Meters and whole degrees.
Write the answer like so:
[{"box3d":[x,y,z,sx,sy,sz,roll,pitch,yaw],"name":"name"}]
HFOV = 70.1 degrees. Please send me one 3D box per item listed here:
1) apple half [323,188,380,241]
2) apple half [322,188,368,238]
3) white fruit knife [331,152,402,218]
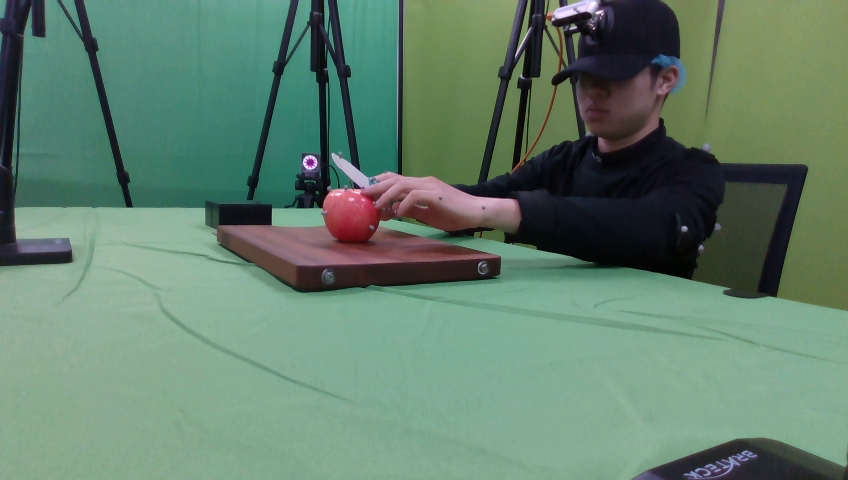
[{"box3d":[-0.094,-0.034,0.840,0.081,0.074,0.053,1,11,-42],"name":"apple half"},{"box3d":[-0.120,-0.040,0.868,0.082,0.081,0.032,-4,14,-41],"name":"apple half"},{"box3d":[-0.083,-0.084,0.919,0.016,0.027,0.208,-3,-21,25],"name":"white fruit knife"}]
